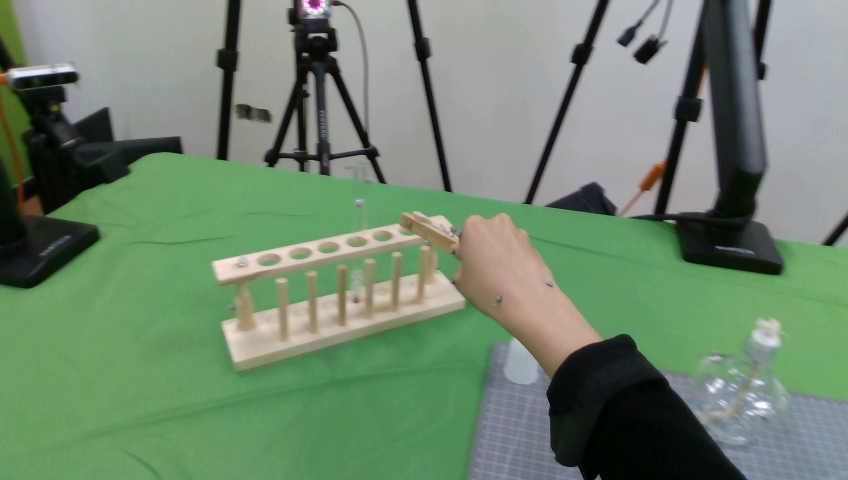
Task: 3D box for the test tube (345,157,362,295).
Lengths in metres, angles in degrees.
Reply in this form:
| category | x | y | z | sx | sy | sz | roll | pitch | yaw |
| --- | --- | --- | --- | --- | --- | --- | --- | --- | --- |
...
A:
| category | x | y | z | sx | sy | sz | roll | pitch | yaw |
| --- | --- | --- | --- | --- | --- | --- | --- | --- | --- |
| test tube | -0.071 | -0.010 | 0.611 | 0.017 | 0.151 | 0.017 | 4 | 26 | -1 |

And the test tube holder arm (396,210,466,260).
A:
| category | x | y | z | sx | sy | sz | roll | pitch | yaw |
| --- | --- | --- | --- | --- | --- | --- | --- | --- | --- |
| test tube holder arm | 0.007 | -0.005 | 0.545 | 0.010 | 0.015 | 0.087 | -16 | 34 | -43 |

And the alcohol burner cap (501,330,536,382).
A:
| category | x | y | z | sx | sy | sz | roll | pitch | yaw |
| --- | --- | --- | --- | --- | --- | --- | --- | --- | --- |
| alcohol burner cap | 0.090 | 0.105 | 0.568 | 0.034 | 0.048 | 0.033 | 3 | 33 | -1 |

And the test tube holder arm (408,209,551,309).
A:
| category | x | y | z | sx | sy | sz | roll | pitch | yaw |
| --- | --- | --- | --- | --- | --- | --- | --- | --- | --- |
| test tube holder arm | 0.040 | 0.011 | 0.519 | 0.013 | 0.015 | 0.176 | -12 | 32 | -38 |

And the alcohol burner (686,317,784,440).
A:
| category | x | y | z | sx | sy | sz | roll | pitch | yaw |
| --- | --- | --- | --- | --- | --- | --- | --- | --- | --- |
| alcohol burner | 0.265 | 0.110 | 0.508 | 0.078 | 0.120 | 0.077 | 3 | 34 | -2 |

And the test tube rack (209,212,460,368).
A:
| category | x | y | z | sx | sy | sz | roll | pitch | yaw |
| --- | --- | --- | --- | --- | --- | --- | --- | --- | --- |
| test tube rack | -0.082 | 0.044 | 0.616 | 0.243 | 0.086 | 0.066 | -13 | 35 | -24 |
